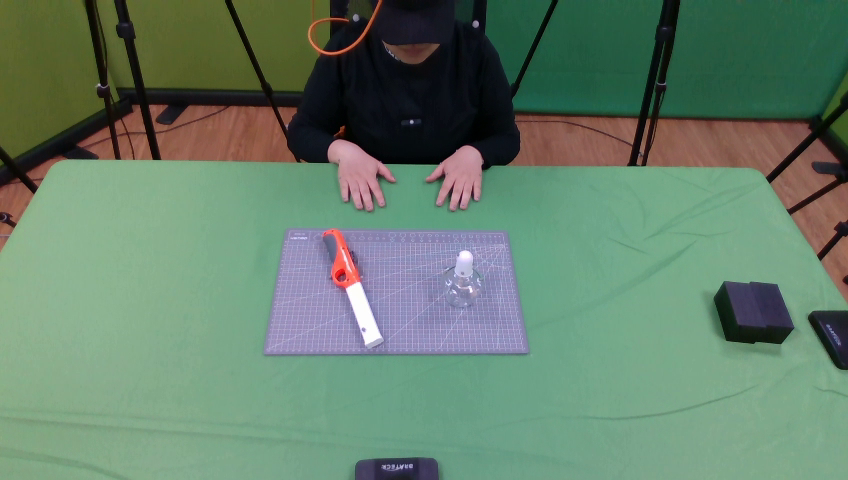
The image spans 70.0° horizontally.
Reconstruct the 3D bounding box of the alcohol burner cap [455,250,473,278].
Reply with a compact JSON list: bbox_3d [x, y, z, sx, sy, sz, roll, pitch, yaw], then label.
[{"bbox_3d":[0.070,0.040,1.048,0.034,0.048,0.033,1,43,0],"label":"alcohol burner cap"}]

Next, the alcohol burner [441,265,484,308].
[{"bbox_3d":[0.069,0.064,1.075,0.078,0.120,0.077,1,45,-1],"label":"alcohol burner"}]

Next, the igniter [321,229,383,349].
[{"bbox_3d":[-0.134,0.078,1.102,0.057,0.025,0.274,-28,53,0],"label":"igniter"}]
